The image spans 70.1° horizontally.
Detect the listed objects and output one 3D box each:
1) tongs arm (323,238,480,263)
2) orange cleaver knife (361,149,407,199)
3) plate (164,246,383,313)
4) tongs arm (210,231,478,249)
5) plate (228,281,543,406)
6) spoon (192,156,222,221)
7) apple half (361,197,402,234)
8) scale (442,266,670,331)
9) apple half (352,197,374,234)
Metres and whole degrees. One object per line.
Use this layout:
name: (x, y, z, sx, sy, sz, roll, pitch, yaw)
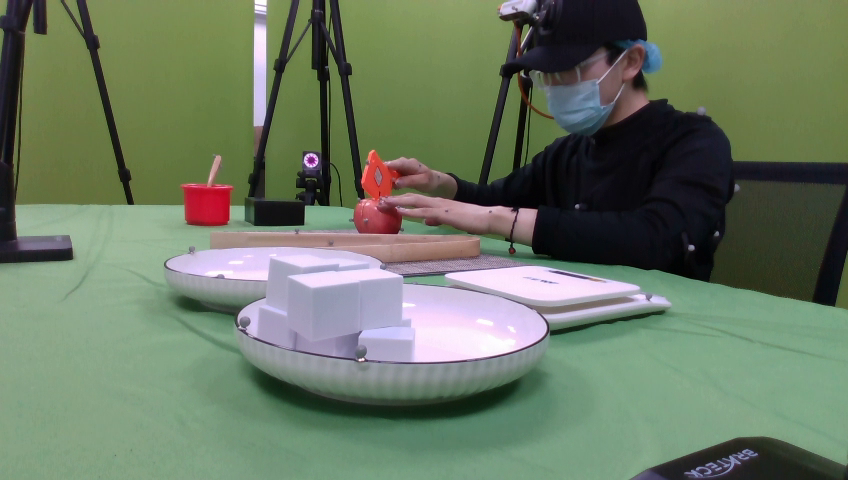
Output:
tongs arm: (-0.070, 0.017, 0.801, 0.390, 0.028, 0.028, -2, 5, -34)
orange cleaver knife: (-0.068, -0.103, 1.059, 0.012, 0.077, 0.212, 7, -2, 16)
plate: (-0.145, 0.038, 0.600, 0.209, 0.038, 0.209, 2, 7, 0)
tongs arm: (-0.106, 0.004, 0.876, 0.386, 0.026, 0.050, 0, 7, -20)
plate: (-0.025, 0.067, 0.413, 0.208, 0.039, 0.207, 3, 7, 0)
spoon: (-0.430, -0.108, 1.222, 0.041, 0.021, 0.193, -2, 52, 1)
apple half: (-0.065, -0.033, 1.013, 0.053, 0.074, 0.081, 9, 7, 19)
scale: (0.131, 0.052, 0.603, 0.202, 0.031, 0.148, -2, 9, -37)
apple half: (-0.103, -0.036, 1.024, 0.032, 0.081, 0.081, 6, 8, 18)
